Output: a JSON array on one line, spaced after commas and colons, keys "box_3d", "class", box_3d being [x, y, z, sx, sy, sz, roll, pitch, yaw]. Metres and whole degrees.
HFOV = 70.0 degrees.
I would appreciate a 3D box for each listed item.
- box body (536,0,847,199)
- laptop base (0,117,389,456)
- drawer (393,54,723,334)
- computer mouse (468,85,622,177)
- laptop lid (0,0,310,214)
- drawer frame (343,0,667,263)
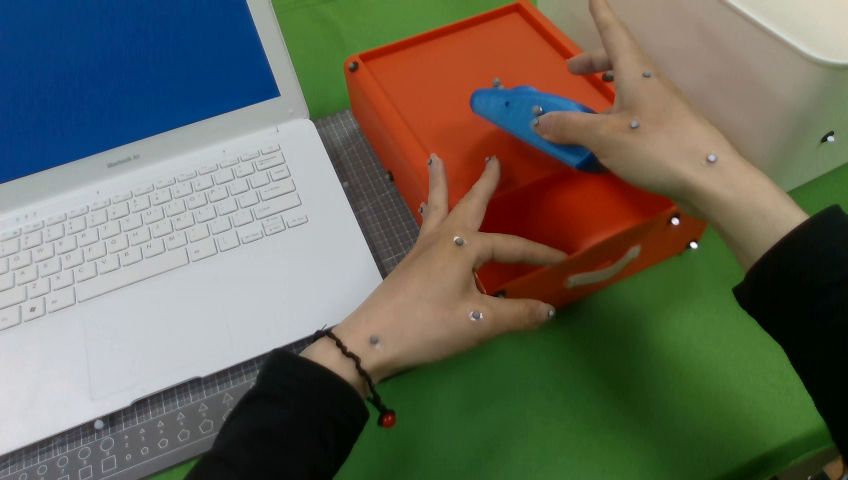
[{"box_3d": [0.296, -0.234, 0.566, 0.254, 0.162, 0.360, -25, 55, -13], "class": "box body"}, {"box_3d": [-0.230, 0.026, 0.511, 0.355, 0.023, 0.233, -21, 58, -10], "class": "laptop base"}, {"box_3d": [0.090, -0.054, 0.499, 0.195, 0.074, 0.209, -23, 55, -11], "class": "drawer"}, {"box_3d": [0.090, -0.086, 0.443, 0.116, 0.041, 0.063, 34, 21, 30], "class": "computer mouse"}, {"box_3d": [-0.303, -0.161, 0.527, 0.357, 0.243, 0.013, -22, 25, -9], "class": "laptop lid"}, {"box_3d": [0.062, -0.104, 0.539, 0.202, 0.083, 0.211, -24, 55, -13], "class": "drawer frame"}]
